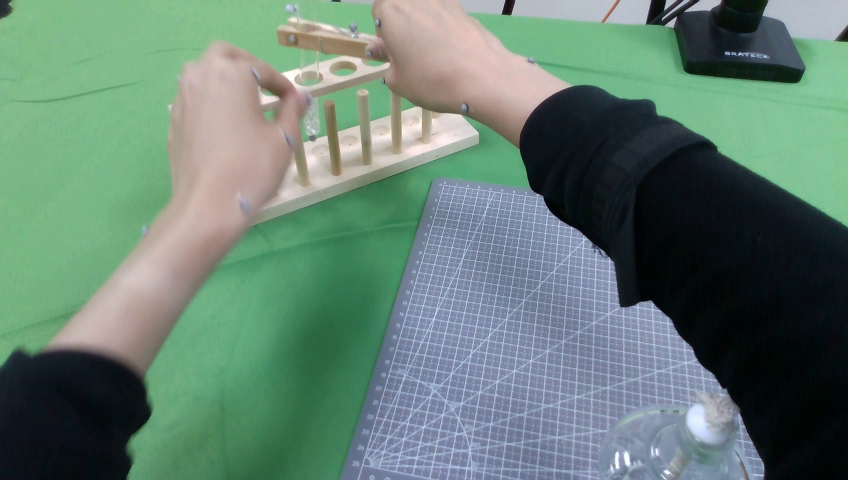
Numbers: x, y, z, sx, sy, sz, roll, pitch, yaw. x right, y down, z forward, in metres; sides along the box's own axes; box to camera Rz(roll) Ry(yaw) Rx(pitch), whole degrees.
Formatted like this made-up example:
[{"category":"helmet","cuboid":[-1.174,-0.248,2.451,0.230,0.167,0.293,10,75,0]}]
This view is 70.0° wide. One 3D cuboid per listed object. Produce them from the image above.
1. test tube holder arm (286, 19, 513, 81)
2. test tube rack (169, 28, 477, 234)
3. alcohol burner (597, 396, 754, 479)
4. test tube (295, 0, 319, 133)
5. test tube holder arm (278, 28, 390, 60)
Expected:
[{"category":"test tube holder arm","cuboid":[-0.021,-0.138,0.436,0.177,0.015,0.013,15,56,17]},{"category":"test tube rack","cuboid":[-0.072,-0.096,0.511,0.243,0.086,0.066,-22,51,-19]},{"category":"alcohol burner","cuboid":[0.128,0.108,0.300,0.078,0.120,0.077,-1,48,1]},{"category":"test tube","cuboid":[-0.089,-0.144,0.464,0.017,0.151,0.017,5,47,-5]},{"category":"test tube holder arm","cuboid":[-0.065,-0.144,0.446,0.087,0.015,0.010,10,55,14]}]
